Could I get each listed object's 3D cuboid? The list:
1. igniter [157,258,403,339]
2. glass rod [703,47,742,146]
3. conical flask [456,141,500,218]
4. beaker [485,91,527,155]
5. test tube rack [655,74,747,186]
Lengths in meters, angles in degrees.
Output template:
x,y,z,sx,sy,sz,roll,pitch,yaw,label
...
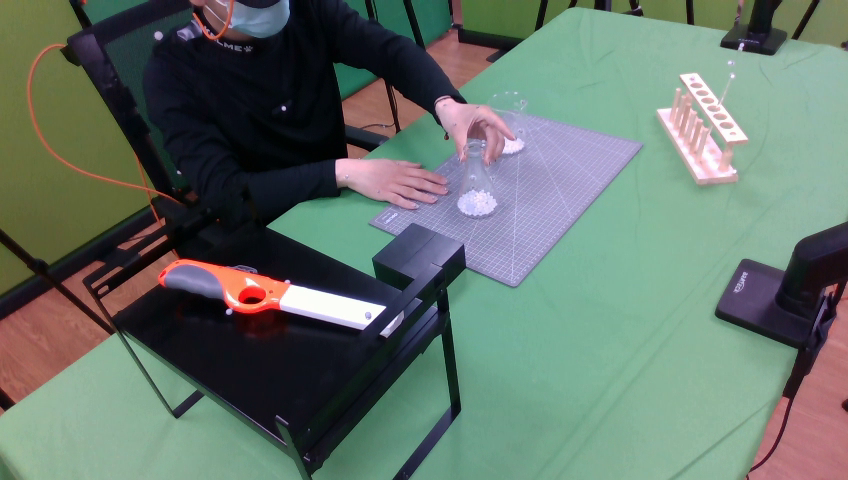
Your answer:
x,y,z,sx,sy,sz,roll,pitch,yaw,label
-0.157,0.059,0.638,0.275,0.025,0.057,11,43,14,igniter
0.503,-0.237,1.027,0.008,0.200,0.008,-2,49,2,glass rod
0.086,-0.103,0.999,0.075,0.122,0.075,-4,40,4,conical flask
0.158,-0.217,1.141,0.074,0.101,0.083,-19,42,-12,beaker
0.491,-0.205,1.092,0.067,0.085,0.241,-5,40,3,test tube rack
